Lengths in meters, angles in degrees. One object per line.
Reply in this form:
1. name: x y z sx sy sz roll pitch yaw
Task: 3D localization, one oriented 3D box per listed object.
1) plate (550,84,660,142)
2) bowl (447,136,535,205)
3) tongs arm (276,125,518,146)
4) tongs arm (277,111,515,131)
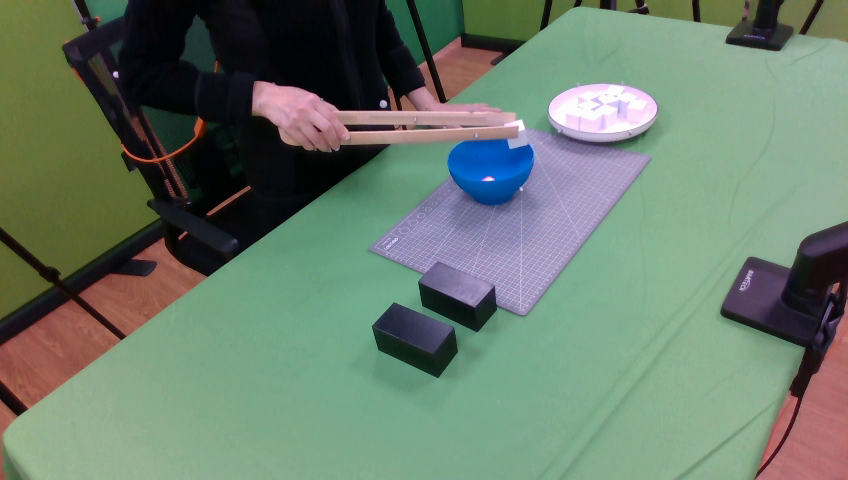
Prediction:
1. plate: 0.355 -0.246 1.195 0.207 0.039 0.206 -5 39 5
2. bowl: 0.119 -0.114 1.051 0.151 0.077 0.150 -6 40 5
3. tongs arm: -0.043 -0.170 0.971 0.388 0.028 0.028 -1 53 -1
4. tongs arm: -0.043 -0.187 0.987 0.385 0.026 0.050 2 49 2
